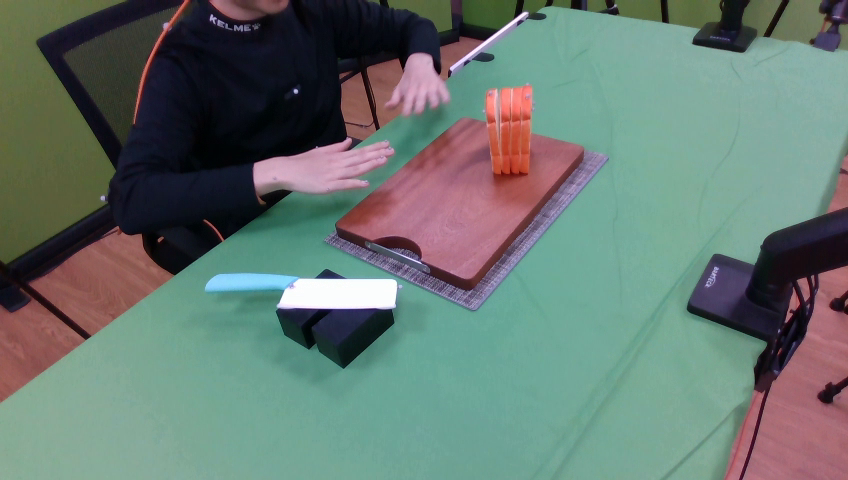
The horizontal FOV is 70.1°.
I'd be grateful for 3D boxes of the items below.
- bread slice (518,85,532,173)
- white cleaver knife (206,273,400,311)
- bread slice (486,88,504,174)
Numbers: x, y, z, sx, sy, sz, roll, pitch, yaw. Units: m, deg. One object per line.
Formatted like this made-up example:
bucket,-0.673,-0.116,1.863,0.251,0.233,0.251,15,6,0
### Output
bread slice,0.175,-0.196,1.044,0.018,0.135,0.106,2,44,7
white cleaver knife,-0.173,0.071,0.846,0.286,0.021,0.065,0,40,11
bread slice,0.124,-0.197,1.054,0.019,0.132,0.104,-4,39,12
